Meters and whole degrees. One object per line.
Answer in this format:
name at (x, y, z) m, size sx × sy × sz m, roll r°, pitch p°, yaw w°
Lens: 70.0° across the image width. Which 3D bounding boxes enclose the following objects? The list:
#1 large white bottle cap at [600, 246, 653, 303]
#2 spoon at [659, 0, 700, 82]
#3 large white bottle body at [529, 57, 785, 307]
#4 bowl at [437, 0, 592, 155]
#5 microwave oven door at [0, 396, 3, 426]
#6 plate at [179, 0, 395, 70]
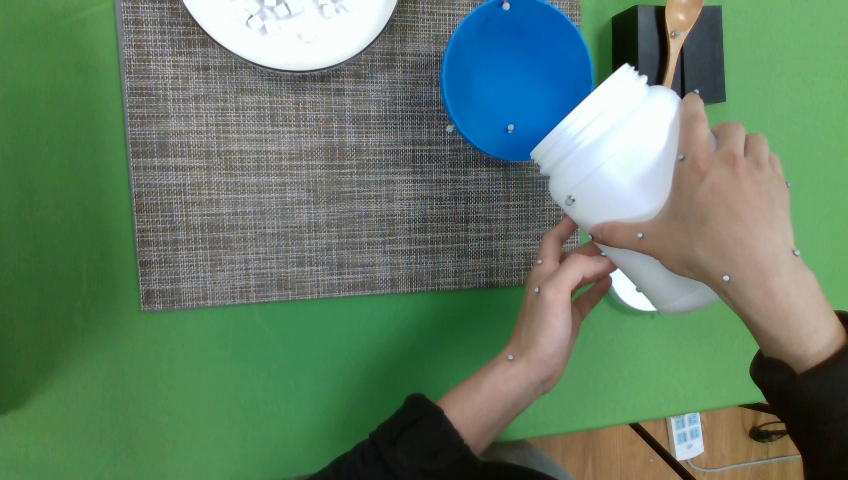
large white bottle cap at (0.256, 0.015, 0.691) m, size 0.115 × 0.018 × 0.115 m, roll -2°, pitch 97°, yaw -15°
spoon at (0.246, -0.176, 0.620) m, size 0.042 × 0.021 × 0.194 m, roll 9°, pitch 99°, yaw -17°
large white bottle body at (0.190, -0.050, 0.514) m, size 0.130 × 0.130 × 0.184 m, roll -42°, pitch 89°, yaw -7°
bowl at (0.078, -0.157, 0.592) m, size 0.152 × 0.076 × 0.151 m, roll -1°, pitch 96°, yaw -14°
microwave oven door at (-0.371, -0.001, 0.395) m, size 0.039 × 0.242 × 0.356 m, roll -6°, pitch 97°, yaw -13°
plate at (-0.125, -0.257, 0.552) m, size 0.210 × 0.038 × 0.209 m, roll -1°, pitch 93°, yaw -14°
